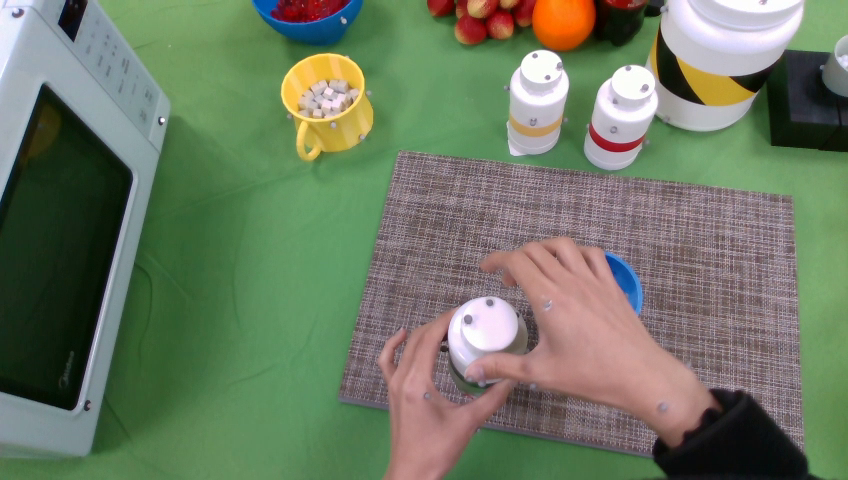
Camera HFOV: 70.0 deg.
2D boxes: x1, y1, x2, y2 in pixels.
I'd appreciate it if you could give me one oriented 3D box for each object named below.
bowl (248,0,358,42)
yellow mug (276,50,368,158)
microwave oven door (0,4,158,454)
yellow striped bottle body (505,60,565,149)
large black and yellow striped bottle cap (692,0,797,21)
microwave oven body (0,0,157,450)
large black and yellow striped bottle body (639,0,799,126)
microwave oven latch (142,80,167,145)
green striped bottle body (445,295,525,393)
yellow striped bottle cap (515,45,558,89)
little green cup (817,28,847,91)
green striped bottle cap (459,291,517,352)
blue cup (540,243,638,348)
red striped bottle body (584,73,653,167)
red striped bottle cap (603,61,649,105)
[{"bbox_3d":[-0.150,-0.317,0.798,0.151,0.077,0.150,-1,66,4],"label":"bowl"},{"bbox_3d":[-0.127,-0.158,0.732,0.099,0.064,0.130,17,69,11],"label":"yellow mug"},{"bbox_3d":[-0.355,0.003,0.566,0.039,0.246,0.353,-1,66,5],"label":"microwave oven door"},{"bbox_3d":[0.123,-0.160,0.681,0.063,0.121,0.062,-2,66,5],"label":"yellow striped bottle body"},{"bbox_3d":[0.307,-0.260,0.582,0.115,0.019,0.114,-2,65,5],"label":"large black and yellow striped bottle cap"},{"bbox_3d":[-0.499,-0.031,0.599,0.326,0.262,0.438,-1,67,4],"label":"microwave oven body"},{"bbox_3d":[0.315,-0.227,0.659,0.131,0.185,0.129,-2,66,5],"label":"large black and yellow striped bottle body"},{"bbox_3d":[-0.340,-0.156,0.745,0.030,0.030,0.078,1,67,5],"label":"microwave oven latch"},{"bbox_3d":[0.049,0.085,0.502,0.063,0.120,0.062,-1,65,2],"label":"green striped bottle body"},{"bbox_3d":[0.118,-0.181,0.634,0.044,0.019,0.044,-1,67,4],"label":"yellow striped bottle cap"},{"bbox_3d":[0.462,-0.193,0.656,0.061,0.039,0.061,-1,65,3],"label":"little green cup"},{"bbox_3d":[0.048,0.061,0.455,0.044,0.020,0.044,-1,66,2],"label":"green striped bottle cap"},{"bbox_3d":[0.151,0.062,0.586,0.092,0.101,0.092,-1,65,3],"label":"blue cup"},{"bbox_3d":[0.212,-0.137,0.664,0.063,0.121,0.062,-4,63,8],"label":"red striped bottle body"},{"bbox_3d":[0.206,-0.160,0.616,0.044,0.018,0.044,0,65,1],"label":"red striped bottle cap"}]
